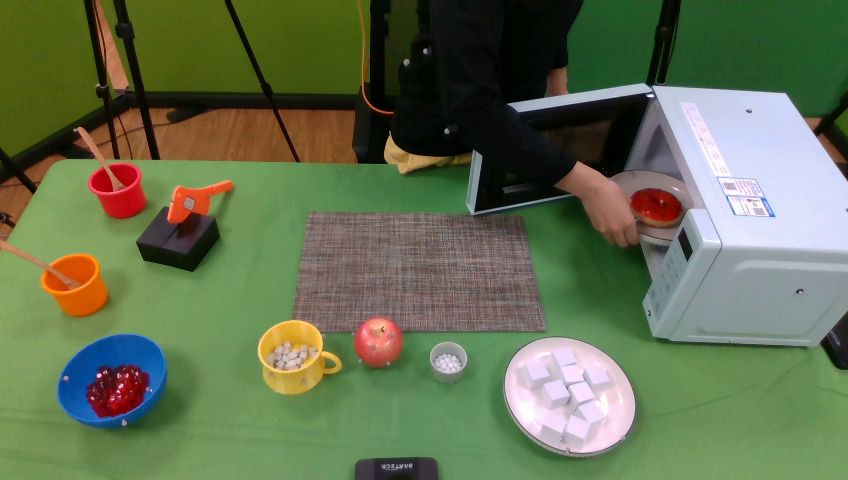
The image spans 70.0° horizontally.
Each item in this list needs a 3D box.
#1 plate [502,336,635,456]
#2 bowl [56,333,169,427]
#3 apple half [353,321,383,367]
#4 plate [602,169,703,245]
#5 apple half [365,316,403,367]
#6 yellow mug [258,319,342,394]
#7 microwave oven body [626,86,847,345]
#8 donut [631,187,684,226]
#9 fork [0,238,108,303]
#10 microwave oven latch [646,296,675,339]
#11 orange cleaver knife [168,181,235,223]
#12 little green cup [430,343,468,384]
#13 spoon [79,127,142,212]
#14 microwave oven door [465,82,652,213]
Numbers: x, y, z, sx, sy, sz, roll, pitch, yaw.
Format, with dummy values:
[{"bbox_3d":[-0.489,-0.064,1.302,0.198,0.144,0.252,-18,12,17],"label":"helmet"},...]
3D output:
[{"bbox_3d":[0.225,0.248,0.963,0.208,0.039,0.206,2,46,-2],"label":"plate"},{"bbox_3d":[-0.456,0.223,0.912,0.151,0.077,0.150,3,45,-2],"label":"bowl"},{"bbox_3d":[-0.097,0.177,0.984,0.033,0.081,0.081,-17,49,-25],"label":"apple half"},{"bbox_3d":[0.444,-0.060,1.165,0.209,0.038,0.208,3,44,-3],"label":"plate"},{"bbox_3d":[-0.063,0.165,1.000,0.053,0.075,0.080,-16,45,-24],"label":"apple half"},{"bbox_3d":[-0.195,0.188,0.972,0.131,0.064,0.099,9,47,4],"label":"yellow mug"},{"bbox_3d":[0.567,-0.053,1.118,0.326,0.261,0.439,2,45,-1],"label":"microwave oven body"},{"bbox_3d":[0.444,-0.066,1.154,0.099,0.048,0.098,4,40,-3],"label":"donut"},{"bbox_3d":[-0.633,0.048,1.017,0.208,0.018,0.028,40,43,-27],"label":"fork"},{"bbox_3d":[0.412,0.134,1.061,0.030,0.029,0.078,4,45,1],"label":"microwave oven latch"},{"bbox_3d":[-0.436,-0.078,1.196,0.012,0.077,0.211,16,15,10],"label":"orange cleaver knife"},{"bbox_3d":[0.039,0.203,0.993,0.061,0.039,0.061,2,46,-2],"label":"little green cup"},{"bbox_3d":[-0.624,-0.140,1.203,0.041,0.021,0.194,-33,101,-25],"label":"spoon"},{"bbox_3d":[0.265,-0.183,1.216,0.356,0.245,0.039,-12,48,-15],"label":"microwave oven door"}]
